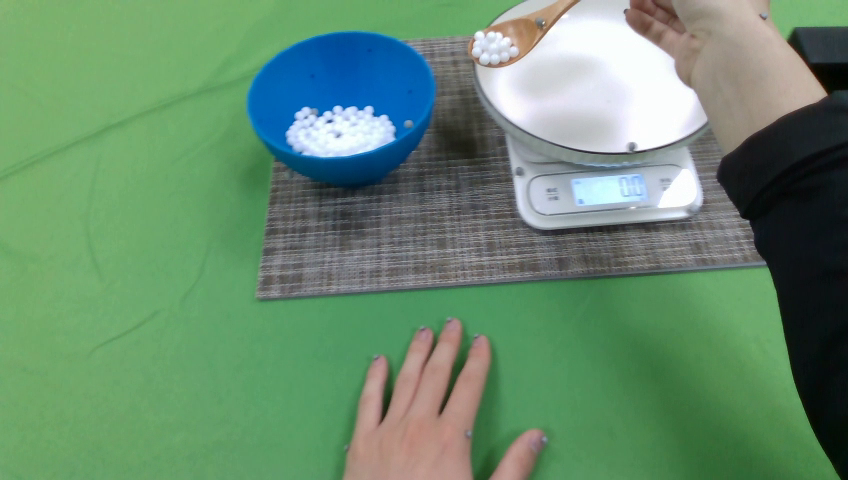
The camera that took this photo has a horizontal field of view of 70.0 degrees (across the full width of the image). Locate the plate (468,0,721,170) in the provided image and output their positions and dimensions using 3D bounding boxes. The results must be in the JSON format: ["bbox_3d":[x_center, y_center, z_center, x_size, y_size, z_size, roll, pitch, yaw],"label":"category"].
[{"bbox_3d":[0.140,-0.135,0.519,0.209,0.038,0.207,-1,55,1],"label":"plate"}]

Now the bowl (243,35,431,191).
[{"bbox_3d":[-0.067,-0.094,0.513,0.151,0.077,0.150,-1,55,2],"label":"bowl"}]

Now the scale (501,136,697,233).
[{"bbox_3d":[0.142,-0.097,0.533,0.149,0.032,0.199,-4,55,0],"label":"scale"}]

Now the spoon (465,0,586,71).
[{"bbox_3d":[0.119,-0.178,0.445,0.193,0.022,0.041,-27,61,16],"label":"spoon"}]
